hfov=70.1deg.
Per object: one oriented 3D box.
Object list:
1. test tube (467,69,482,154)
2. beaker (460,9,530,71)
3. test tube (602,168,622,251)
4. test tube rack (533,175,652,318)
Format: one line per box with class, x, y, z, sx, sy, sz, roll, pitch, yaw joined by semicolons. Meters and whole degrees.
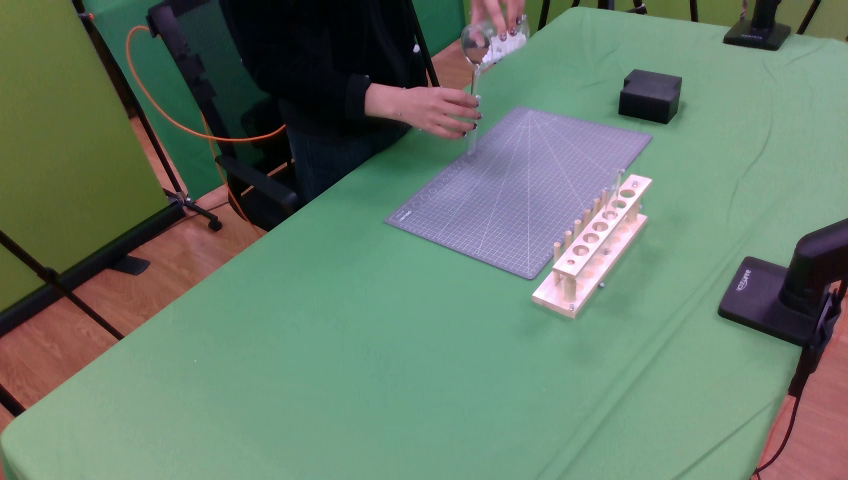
test tube;0.088;-0.223;1.060;0.017;0.151;0.017;3;24;-1
beaker;0.123;-0.340;1.025;0.100;0.084;0.073;-33;53;-27
test tube;0.264;-0.039;0.853;0.017;0.151;0.017;-5;44;6
test tube rack;0.251;-0.001;0.889;0.066;0.085;0.243;22;49;33
